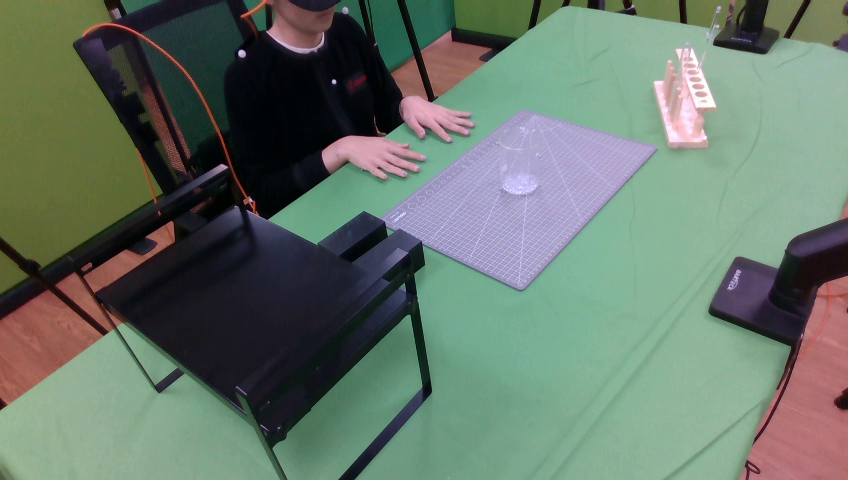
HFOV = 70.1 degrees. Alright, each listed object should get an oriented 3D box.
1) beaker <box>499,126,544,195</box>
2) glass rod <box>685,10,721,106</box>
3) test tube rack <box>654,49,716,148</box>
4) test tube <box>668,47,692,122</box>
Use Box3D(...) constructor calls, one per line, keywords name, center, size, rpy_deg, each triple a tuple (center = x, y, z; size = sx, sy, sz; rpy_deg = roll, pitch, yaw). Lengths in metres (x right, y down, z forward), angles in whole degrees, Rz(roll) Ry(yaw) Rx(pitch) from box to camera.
Box3D(name="beaker", center=(0.170, -0.136, 1.045), size=(0.073, 0.101, 0.084), rpy_deg=(12, 44, 21))
Box3D(name="glass rod", center=(0.523, -0.336, 1.136), size=(0.008, 0.200, 0.008), rpy_deg=(-1, 47, 1))
Box3D(name="test tube rack", center=(0.502, -0.281, 1.176), size=(0.066, 0.085, 0.241), rpy_deg=(2, 41, 11))
Box3D(name="test tube", center=(0.472, -0.285, 1.117), size=(0.017, 0.151, 0.017), rpy_deg=(-4, 44, 4))
